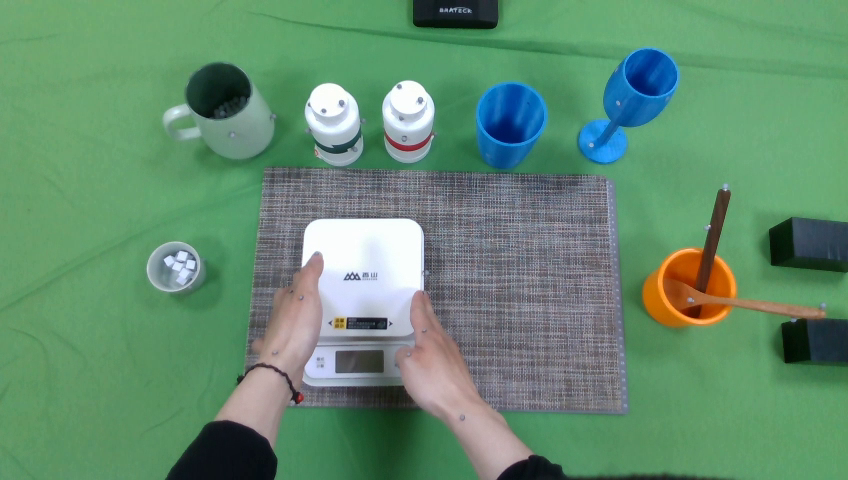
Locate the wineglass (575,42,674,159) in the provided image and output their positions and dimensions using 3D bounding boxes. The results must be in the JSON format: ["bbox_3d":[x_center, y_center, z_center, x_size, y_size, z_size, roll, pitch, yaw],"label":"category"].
[{"bbox_3d":[0.237,-0.162,0.735,0.074,0.173,0.073,0,74,-1],"label":"wineglass"}]

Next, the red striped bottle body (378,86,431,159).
[{"bbox_3d":[-0.025,-0.151,0.749,0.063,0.120,0.062,1,74,-3],"label":"red striped bottle body"}]

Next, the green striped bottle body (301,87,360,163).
[{"bbox_3d":[-0.114,-0.146,0.744,0.063,0.120,0.063,1,74,-2],"label":"green striped bottle body"}]

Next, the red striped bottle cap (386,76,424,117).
[{"bbox_3d":[-0.022,-0.166,0.699,0.044,0.018,0.044,0,77,-2],"label":"red striped bottle cap"}]

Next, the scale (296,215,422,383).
[{"bbox_3d":[-0.077,0.068,0.723,0.148,0.032,0.200,-1,75,4],"label":"scale"}]

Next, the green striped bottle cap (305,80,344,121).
[{"bbox_3d":[-0.114,-0.160,0.694,0.044,0.020,0.044,1,74,-2],"label":"green striped bottle cap"}]

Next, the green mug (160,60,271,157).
[{"bbox_3d":[-0.259,-0.155,0.748,0.125,0.105,0.092,-20,77,-7],"label":"green mug"}]

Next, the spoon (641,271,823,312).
[{"bbox_3d":[0.343,0.064,0.692,0.022,0.192,0.041,22,79,-41],"label":"spoon"}]

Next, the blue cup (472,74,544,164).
[{"bbox_3d":[0.100,-0.141,0.761,0.092,0.100,0.092,0,75,0],"label":"blue cup"}]

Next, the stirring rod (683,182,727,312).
[{"bbox_3d":[0.325,0.013,0.704,0.014,0.177,0.006,7,34,14],"label":"stirring rod"}]

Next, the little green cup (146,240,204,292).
[{"bbox_3d":[-0.297,0.034,0.730,0.061,0.039,0.061,1,75,-3],"label":"little green cup"}]
